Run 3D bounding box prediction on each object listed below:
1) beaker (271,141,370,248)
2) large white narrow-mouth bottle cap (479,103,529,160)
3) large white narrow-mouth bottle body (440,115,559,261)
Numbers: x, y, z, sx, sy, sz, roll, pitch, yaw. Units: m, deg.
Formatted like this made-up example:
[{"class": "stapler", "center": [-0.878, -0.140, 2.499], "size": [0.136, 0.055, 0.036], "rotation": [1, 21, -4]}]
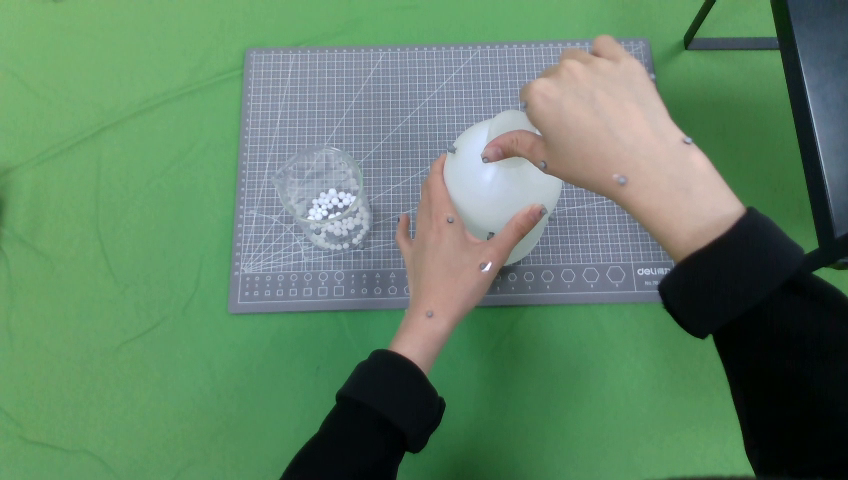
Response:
[{"class": "beaker", "center": [-0.093, -0.038, 0.572], "size": [0.084, 0.101, 0.073], "rotation": [9, 73, 4]}, {"class": "large white narrow-mouth bottle cap", "center": [0.058, -0.078, 0.442], "size": [0.038, 0.024, 0.037], "rotation": [-1, 74, 3]}, {"class": "large white narrow-mouth bottle body", "center": [0.064, -0.051, 0.527], "size": [0.102, 0.196, 0.101], "rotation": [-1, 73, 3]}]
